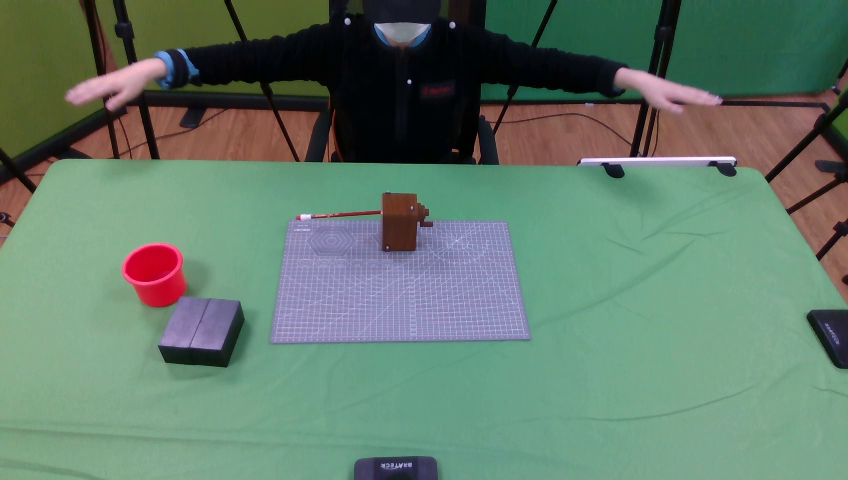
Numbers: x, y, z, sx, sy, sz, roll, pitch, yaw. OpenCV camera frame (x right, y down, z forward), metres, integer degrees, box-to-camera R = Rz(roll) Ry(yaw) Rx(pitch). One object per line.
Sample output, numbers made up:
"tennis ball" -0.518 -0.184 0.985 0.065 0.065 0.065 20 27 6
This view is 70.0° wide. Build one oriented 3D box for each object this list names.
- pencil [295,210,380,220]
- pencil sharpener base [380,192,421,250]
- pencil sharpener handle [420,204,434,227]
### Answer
"pencil" -0.147 -0.049 1.144 0.194 0.012 0.012 -4 46 3
"pencil sharpener base" -0.046 -0.035 1.163 0.077 0.107 0.061 0 46 -5
"pencil sharpener handle" 0.006 -0.047 1.161 0.031 0.068 0.036 0 61 -4
